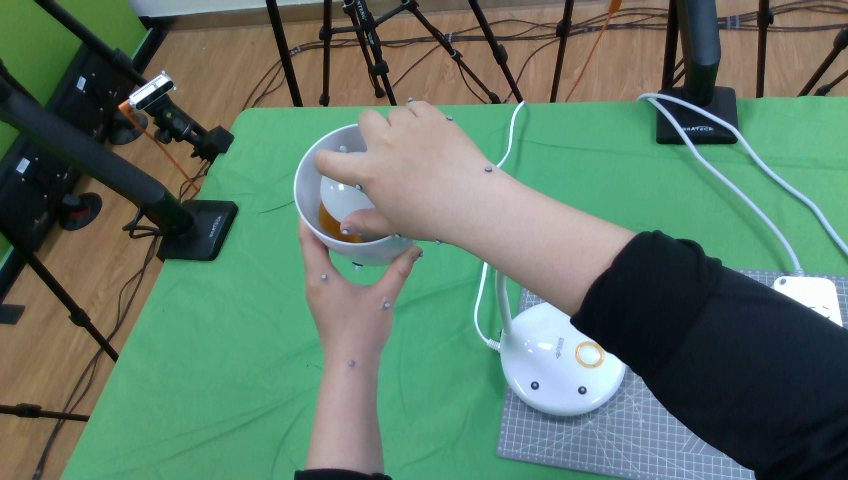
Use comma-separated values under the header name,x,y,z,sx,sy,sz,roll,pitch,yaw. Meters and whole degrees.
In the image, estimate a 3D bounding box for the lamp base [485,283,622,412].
name,x,y,z,sx,sy,sz,roll,pitch,yaw
lamp base,0.148,0.107,0.740,0.178,0.182,0.159,-3,56,17

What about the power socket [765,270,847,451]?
name,x,y,z,sx,sy,sz,roll,pitch,yaw
power socket,0.461,0.135,0.728,0.072,0.033,0.225,3,57,16

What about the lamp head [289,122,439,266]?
name,x,y,z,sx,sy,sz,roll,pitch,yaw
lamp head,-0.045,-0.026,0.533,0.112,0.124,0.111,-4,66,8

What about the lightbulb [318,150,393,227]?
name,x,y,z,sx,sy,sz,roll,pitch,yaw
lightbulb,-0.053,-0.035,0.506,0.059,0.108,0.059,-1,73,3
